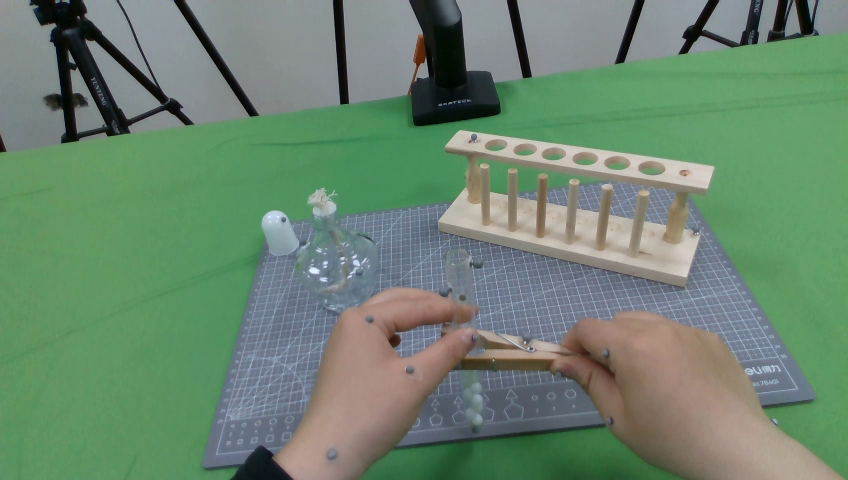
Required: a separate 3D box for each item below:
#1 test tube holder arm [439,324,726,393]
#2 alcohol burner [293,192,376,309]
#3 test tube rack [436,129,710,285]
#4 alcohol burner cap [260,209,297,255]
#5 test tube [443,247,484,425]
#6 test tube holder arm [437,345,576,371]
[{"bbox_3d":[0.097,0.075,0.386,0.178,0.015,0.013,7,50,10],"label":"test tube holder arm"},{"bbox_3d":[-0.083,0.005,0.542,0.078,0.120,0.077,-4,41,4],"label":"alcohol burner"},{"bbox_3d":[0.129,-0.038,0.573,0.241,0.086,0.066,14,45,26],"label":"test tube rack"},{"bbox_3d":[-0.154,-0.011,0.633,0.034,0.048,0.033,-5,40,4],"label":"alcohol burner cap"},{"bbox_3d":[0.027,0.068,0.391,0.017,0.151,0.017,-5,35,4],"label":"test tube"},{"bbox_3d":[0.052,0.076,0.388,0.088,0.015,0.010,-2,48,2],"label":"test tube holder arm"}]
